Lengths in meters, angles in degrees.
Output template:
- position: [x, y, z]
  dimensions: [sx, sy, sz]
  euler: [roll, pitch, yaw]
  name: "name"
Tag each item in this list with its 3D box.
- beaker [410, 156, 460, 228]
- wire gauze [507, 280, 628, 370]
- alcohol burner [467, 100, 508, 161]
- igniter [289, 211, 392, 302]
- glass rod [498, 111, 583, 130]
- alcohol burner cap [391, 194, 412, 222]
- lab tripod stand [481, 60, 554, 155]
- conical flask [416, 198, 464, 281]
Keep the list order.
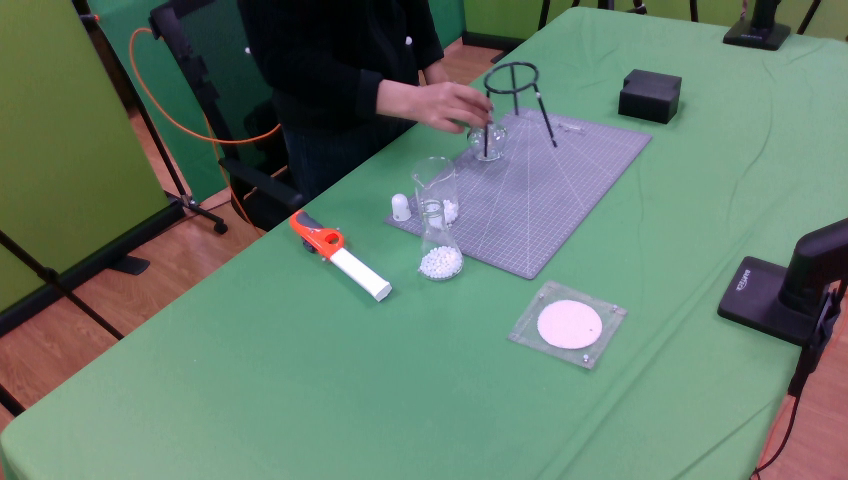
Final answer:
- position: [0.020, -0.076, 1.006]
  dimensions: [0.074, 0.101, 0.084]
  euler: [3, 42, 15]
  name: "beaker"
- position: [0.196, 0.114, 0.823]
  dimensions: [0.120, 0.011, 0.125]
  euler: [20, 50, 31]
  name: "wire gauze"
- position: [0.119, -0.210, 1.134]
  dimensions: [0.078, 0.119, 0.077]
  euler: [-4, 39, 4]
  name: "alcohol burner"
- position: [-0.146, 0.019, 0.986]
  dimensions: [0.057, 0.025, 0.274]
  euler: [-40, 48, -18]
  name: "igniter"
- position: [0.233, -0.245, 1.235]
  dimensions: [0.198, 0.008, 0.008]
  euler: [20, 49, 35]
  name: "glass rod"
- position: [-0.041, -0.057, 1.040]
  dimensions: [0.034, 0.048, 0.033]
  euler: [-6, 39, 5]
  name: "alcohol burner cap"
- position: [0.150, -0.230, 1.035]
  dimensions: [0.148, 0.132, 0.147]
  euler: [-10, 45, 10]
  name: "lab tripod stand"
- position: [0.019, -0.004, 0.907]
  dimensions: [0.075, 0.122, 0.075]
  euler: [-5, 40, 5]
  name: "conical flask"
